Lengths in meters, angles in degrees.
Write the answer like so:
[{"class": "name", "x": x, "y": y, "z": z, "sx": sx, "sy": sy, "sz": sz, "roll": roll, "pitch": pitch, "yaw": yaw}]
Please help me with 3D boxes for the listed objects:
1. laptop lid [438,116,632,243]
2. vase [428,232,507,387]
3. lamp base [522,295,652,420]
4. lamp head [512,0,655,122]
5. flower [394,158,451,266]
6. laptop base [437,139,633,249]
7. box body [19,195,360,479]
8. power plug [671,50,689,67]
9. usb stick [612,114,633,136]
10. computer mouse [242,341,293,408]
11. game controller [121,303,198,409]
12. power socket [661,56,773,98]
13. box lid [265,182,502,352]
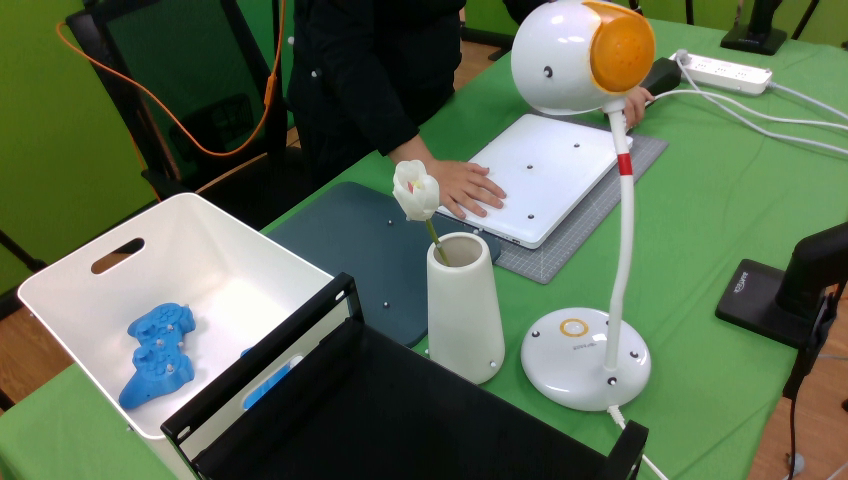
[{"class": "laptop lid", "x": 0.190, "y": -0.125, "z": 1.082, "sx": 0.239, "sy": 0.013, "sz": 0.358, "roll": 23, "pitch": 48, "yaw": 35}, {"class": "vase", "x": 0.051, "y": 0.087, "z": 0.727, "sx": 0.098, "sy": 0.201, "sz": 0.097, "roll": -3, "pitch": 40, "yaw": 3}, {"class": "lamp base", "x": 0.201, "y": 0.095, "z": 0.709, "sx": 0.161, "sy": 0.181, "sz": 0.178, "roll": -16, "pitch": 43, "yaw": -10}, {"class": "lamp head", "x": 0.156, "y": -0.168, "z": 0.563, "sx": 0.113, "sy": 0.113, "sz": 0.122, "roll": -18, "pitch": 23, "yaw": -12}, {"class": "flower", "x": 0.029, "y": 0.035, "z": 0.664, "sx": 0.043, "sy": 0.364, "sz": 0.038, "roll": 36, "pitch": 73, "yaw": 30}, {"class": "laptop base", "x": 0.194, "y": -0.117, "z": 1.087, "sx": 0.233, "sy": 0.023, "sz": 0.355, "roll": 20, "pitch": 48, "yaw": 35}, {"class": "box body", "x": -0.287, "y": 0.118, "z": 0.772, "sx": 0.361, "sy": 0.161, "sz": 0.255, "roll": 26, "pitch": 50, "yaw": 33}, {"class": "power plug", "x": 0.541, "y": -0.379, "z": 1.302, "sx": 0.073, "sy": 0.053, "sz": 0.035, "roll": -30, "pitch": 47, "yaw": -22}, {"class": "usb stick", "x": 0.375, "y": -0.212, "z": 1.153, "sx": 0.021, "sy": 0.027, "sz": 0.059, "roll": 27, "pitch": 60, "yaw": 22}, {"class": "computer mouse", "x": -0.200, "y": 0.178, "z": 0.776, "sx": 0.063, "sy": 0.041, "sz": 0.116, "roll": -11, "pitch": 43, "yaw": -8}, {"class": "game controller", "x": -0.363, "y": 0.149, "z": 0.828, "sx": 0.097, "sy": 0.052, "sz": 0.154, "roll": -13, "pitch": 41, "yaw": -9}, {"class": "power socket", "x": 0.620, "y": -0.352, "z": 1.289, "sx": 0.225, "sy": 0.033, "sz": 0.072, "roll": 26, "pitch": 51, "yaw": 33}, {"class": "box lid", "x": -0.087, "y": 0.023, "z": 0.971, "sx": 0.368, "sy": 0.015, "sz": 0.264, "roll": 23, "pitch": 49, "yaw": 31}]
